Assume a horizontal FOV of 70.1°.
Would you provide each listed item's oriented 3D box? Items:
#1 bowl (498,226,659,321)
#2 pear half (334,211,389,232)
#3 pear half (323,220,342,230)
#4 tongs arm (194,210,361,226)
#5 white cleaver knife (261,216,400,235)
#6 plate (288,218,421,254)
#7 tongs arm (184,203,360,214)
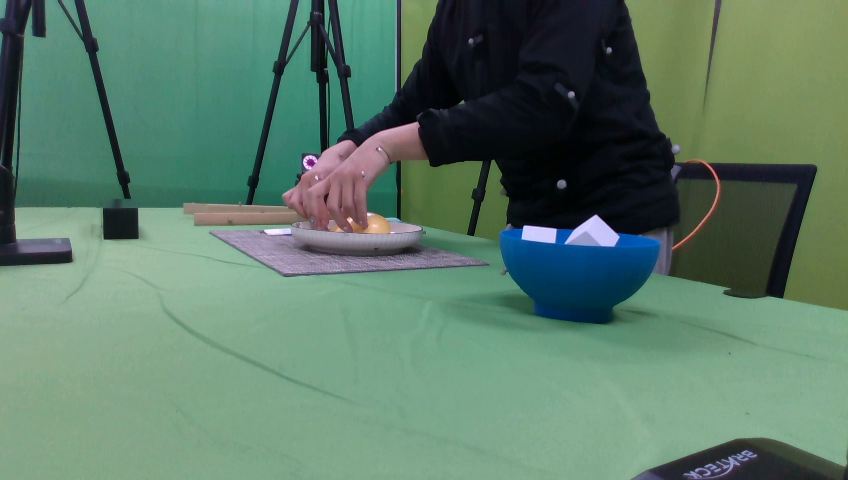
[{"bbox_3d":[0.145,0.032,0.585,0.151,0.077,0.151,2,7,0],"label":"bowl"},{"bbox_3d":[-0.108,-0.016,0.920,0.110,0.056,0.076,-4,5,-20],"label":"pear half"},{"bbox_3d":[-0.126,-0.019,1.000,0.088,0.031,0.070,9,3,3],"label":"pear half"},{"bbox_3d":[-0.298,-0.049,1.307,0.390,0.028,0.028,-4,8,-38],"label":"tongs arm"},{"bbox_3d":[-0.168,-0.023,1.156,0.288,0.021,0.065,-7,16,-33],"label":"white cleaver knife"},{"bbox_3d":[-0.109,-0.007,0.956,0.208,0.039,0.207,2,7,0],"label":"plate"},{"bbox_3d":[-0.337,-0.065,1.377,0.387,0.026,0.050,0,10,-25],"label":"tongs arm"}]
